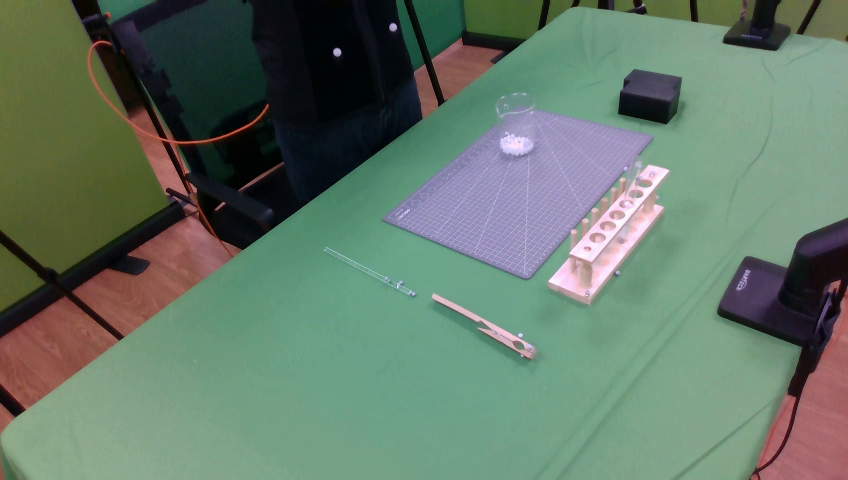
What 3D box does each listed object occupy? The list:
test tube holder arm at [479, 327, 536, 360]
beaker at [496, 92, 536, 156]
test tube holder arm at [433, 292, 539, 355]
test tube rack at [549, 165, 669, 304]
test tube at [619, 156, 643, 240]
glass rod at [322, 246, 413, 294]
[{"bbox_3d":[0.110,0.134,0.805,0.087,0.015,0.010,29,83,36],"label":"test tube holder arm"},{"bbox_3d":[0.172,-0.214,1.137,0.084,0.101,0.073,-36,46,-27],"label":"beaker"},{"bbox_3d":[0.081,0.113,0.832,0.177,0.015,0.013,28,82,36],"label":"test tube holder arm"},{"bbox_3d":[0.279,-0.018,0.902,0.066,0.085,0.243,24,50,33],"label":"test tube rack"},{"bbox_3d":[0.296,-0.056,0.866,0.017,0.151,0.017,-4,44,4],"label":"test tube"},{"bbox_3d":[-0.093,0.045,0.956,0.198,0.008,0.008,24,51,33],"label":"glass rod"}]
